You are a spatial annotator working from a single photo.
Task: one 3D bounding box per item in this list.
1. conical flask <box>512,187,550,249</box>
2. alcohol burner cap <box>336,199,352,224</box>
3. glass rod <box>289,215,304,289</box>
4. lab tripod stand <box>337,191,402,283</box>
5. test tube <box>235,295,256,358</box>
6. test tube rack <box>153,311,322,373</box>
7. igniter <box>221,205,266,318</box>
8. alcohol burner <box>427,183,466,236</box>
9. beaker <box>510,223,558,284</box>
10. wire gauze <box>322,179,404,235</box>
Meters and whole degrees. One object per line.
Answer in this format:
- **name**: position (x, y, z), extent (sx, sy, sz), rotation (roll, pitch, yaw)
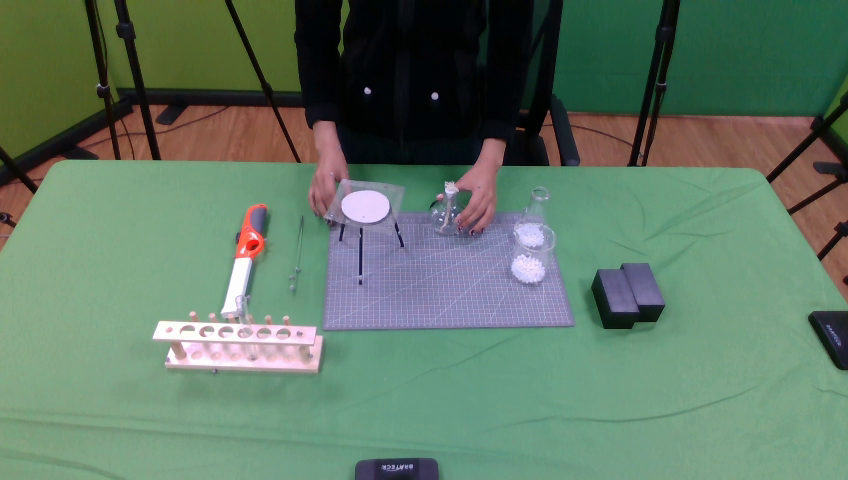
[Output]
- **conical flask**: position (0.217, -0.048, 1.190), extent (0.075, 0.122, 0.075), rotation (2, 46, -2)
- **alcohol burner cap**: position (-0.163, -0.060, 1.219), extent (0.034, 0.048, 0.033), rotation (2, 43, -1)
- **glass rod**: position (-0.246, 0.019, 1.171), extent (0.008, 0.008, 0.198), rotation (1, 44, -3)
- **lab tripod stand**: position (-0.106, -0.016, 1.125), extent (0.148, 0.132, 0.147), rotation (3, 44, -2)
- **test tube**: position (-0.274, 0.136, 0.933), extent (0.017, 0.151, 0.017), rotation (4, 45, -4)
- **test tube rack**: position (-0.293, 0.160, 0.977), extent (0.242, 0.085, 0.066), rotation (3, 46, -2)
- **igniter**: position (-0.337, 0.030, 1.140), extent (0.057, 0.025, 0.274), rotation (-5, 46, 4)
- **alcohol burner**: position (0.047, -0.066, 1.200), extent (0.078, 0.119, 0.077), rotation (4, 46, -3)
- **beaker**: position (0.199, 0.027, 1.132), extent (0.083, 0.101, 0.074), rotation (27, 50, 21)
- **wire gauze**: position (-0.106, -0.064, 1.078), extent (0.125, 0.011, 0.121), rotation (11, 45, 5)
